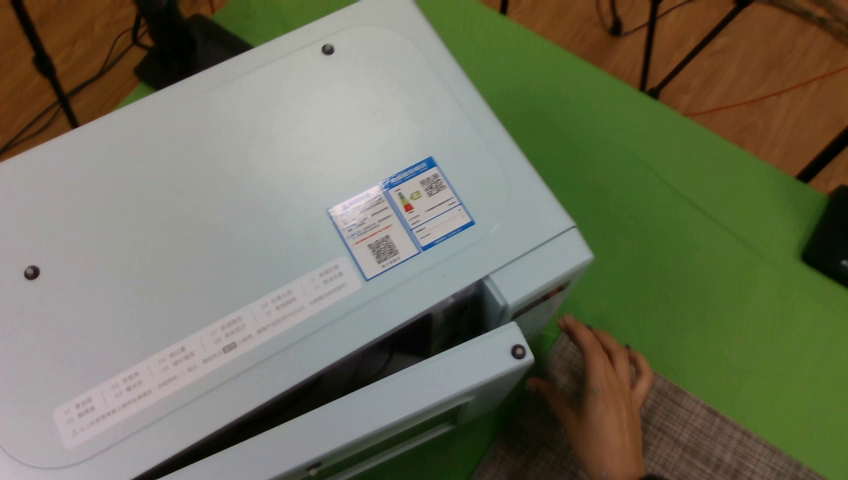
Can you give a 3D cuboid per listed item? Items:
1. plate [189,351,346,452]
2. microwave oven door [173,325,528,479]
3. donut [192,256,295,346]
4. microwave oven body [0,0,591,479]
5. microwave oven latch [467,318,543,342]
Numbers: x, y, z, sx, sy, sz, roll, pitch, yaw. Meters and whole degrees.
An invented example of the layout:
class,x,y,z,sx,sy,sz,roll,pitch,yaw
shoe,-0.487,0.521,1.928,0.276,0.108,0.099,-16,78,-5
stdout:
class,x,y,z,sx,sy,sz,roll,pitch,yaw
plate,-0.174,0.099,0.583,0.209,0.038,0.207,-2,63,3
microwave oven door,-0.093,0.177,0.500,0.356,0.245,0.039,-23,69,-10
donut,-0.178,0.060,0.600,0.099,0.048,0.098,5,54,-7
microwave oven body,-0.142,0.026,0.566,0.442,0.262,0.323,-29,72,-11
microwave oven latch,0.086,0.093,0.647,0.079,0.030,0.030,-21,70,-8
